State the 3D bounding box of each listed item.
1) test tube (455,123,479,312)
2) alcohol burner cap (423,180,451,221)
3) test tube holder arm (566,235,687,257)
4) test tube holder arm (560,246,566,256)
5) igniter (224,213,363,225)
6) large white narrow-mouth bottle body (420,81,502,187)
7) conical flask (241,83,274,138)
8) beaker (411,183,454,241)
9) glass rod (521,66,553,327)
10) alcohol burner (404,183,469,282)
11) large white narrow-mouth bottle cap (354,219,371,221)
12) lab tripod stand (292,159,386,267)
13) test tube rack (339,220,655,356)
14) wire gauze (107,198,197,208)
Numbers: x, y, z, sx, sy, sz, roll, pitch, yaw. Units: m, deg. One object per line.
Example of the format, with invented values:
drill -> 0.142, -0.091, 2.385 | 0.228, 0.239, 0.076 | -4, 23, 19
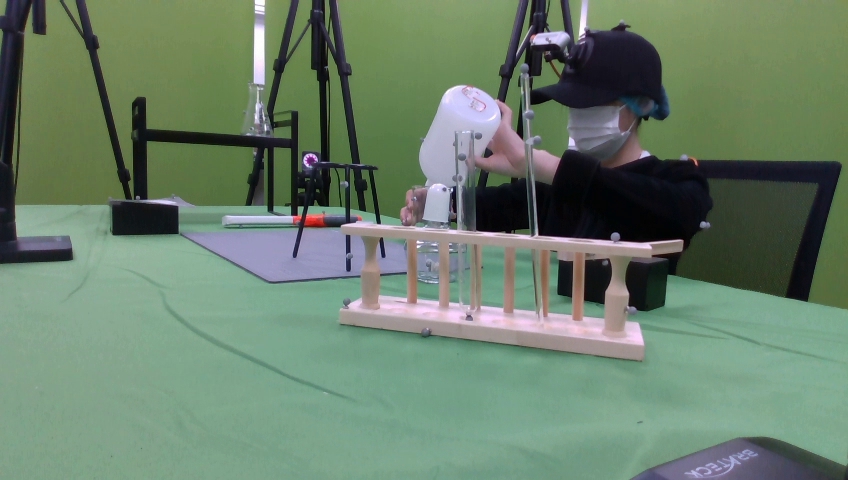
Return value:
test tube -> 0.034, -0.016, 0.476 | 0.017, 0.150, 0.017 | -2, 10, 1
alcohol burner cap -> 0.017, -0.047, 0.711 | 0.034, 0.048, 0.034 | 8, 5, 0
test tube holder arm -> 0.215, 0.006, 0.630 | 0.179, 0.015, 0.013 | -3, 9, -30
test tube holder arm -> 0.173, 0.007, 0.611 | 0.088, 0.015, 0.010 | -3, 9, -30
igniter -> -0.255, -0.041, 1.210 | 0.278, 0.025, 0.057 | -2, -2, -31
large white narrow-mouth bottle body -> 0.048, -0.153, 0.984 | 0.102, 0.194, 0.101 | 12, 48, -13
conical flask -> -0.384, -0.297, 1.393 | 0.075, 0.122, 0.075 | 2, 7, 0
beaker -> 0.017, -0.049, 1.060 | 0.083, 0.100, 0.074 | 6, 7, 40
glass rod -> 0.085, -0.028, 0.454 | 0.008, 0.199, 0.008 | -7, 10, 2
alcohol burner -> 0.015, -0.011, 0.715 | 0.078, 0.119, 0.078 | 0, 7, 0
large white narrow-mouth bottle cap -> -0.120, -0.029, 1.184 | 0.038, 0.024, 0.037 | 2, 8, 0
lab tripod stand -> -0.105, -0.039, 0.798 | 0.148, 0.131, 0.148 | 2, 5, 0
test tube rack -> 0.056, 0.032, 0.495 | 0.242, 0.085, 0.067 | 4, 7, 15
wire gauze -> -0.462, -0.064, 1.023 | 0.126, 0.011, 0.121 | -2, 7, -32
